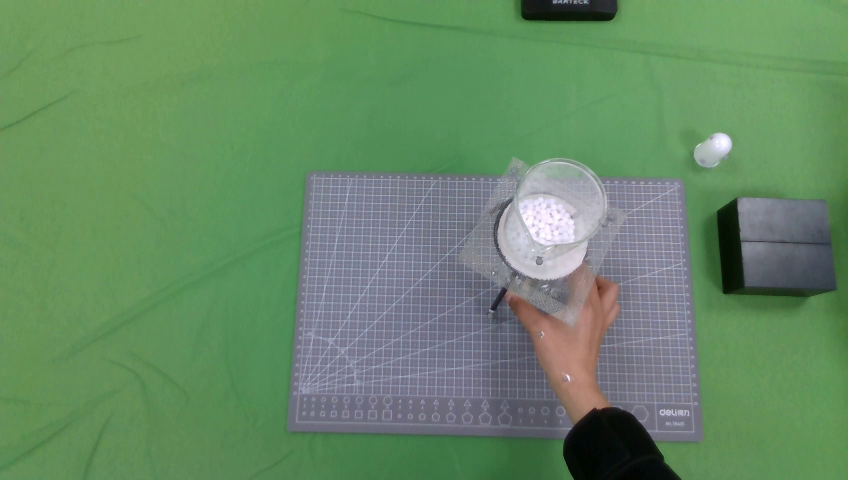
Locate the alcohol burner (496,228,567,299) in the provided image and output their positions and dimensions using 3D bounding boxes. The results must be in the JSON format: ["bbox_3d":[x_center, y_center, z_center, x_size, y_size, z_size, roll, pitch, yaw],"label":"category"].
[{"bbox_3d":[0.117,0.022,0.642,0.078,0.119,0.077,0,77,-1],"label":"alcohol burner"}]

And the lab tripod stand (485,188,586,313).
[{"bbox_3d":[0.112,0.007,0.636,0.148,0.132,0.147,0,75,-1],"label":"lab tripod stand"}]

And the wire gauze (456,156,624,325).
[{"bbox_3d":[0.110,-0.003,0.571,0.125,0.011,0.121,30,79,4],"label":"wire gauze"}]

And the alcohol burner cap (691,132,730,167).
[{"bbox_3d":[0.340,-0.108,0.713,0.034,0.048,0.033,0,76,1],"label":"alcohol burner cap"}]

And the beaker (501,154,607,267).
[{"bbox_3d":[0.106,-0.017,0.524,0.074,0.100,0.083,26,77,6],"label":"beaker"}]
